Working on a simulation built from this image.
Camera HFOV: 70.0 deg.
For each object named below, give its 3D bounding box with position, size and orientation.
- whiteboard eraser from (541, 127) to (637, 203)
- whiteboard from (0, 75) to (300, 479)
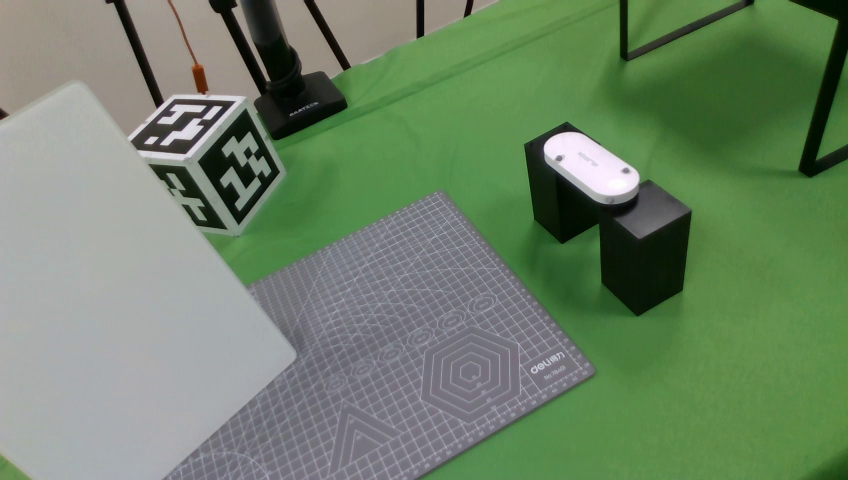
[{"bbox_3d":[0.140,-0.067,0.521,0.041,0.019,0.100,-28,46,-12],"label":"whiteboard eraser"},{"bbox_3d":[-0.299,0.050,0.528,0.217,0.308,0.142,-43,30,-22],"label":"whiteboard"}]
